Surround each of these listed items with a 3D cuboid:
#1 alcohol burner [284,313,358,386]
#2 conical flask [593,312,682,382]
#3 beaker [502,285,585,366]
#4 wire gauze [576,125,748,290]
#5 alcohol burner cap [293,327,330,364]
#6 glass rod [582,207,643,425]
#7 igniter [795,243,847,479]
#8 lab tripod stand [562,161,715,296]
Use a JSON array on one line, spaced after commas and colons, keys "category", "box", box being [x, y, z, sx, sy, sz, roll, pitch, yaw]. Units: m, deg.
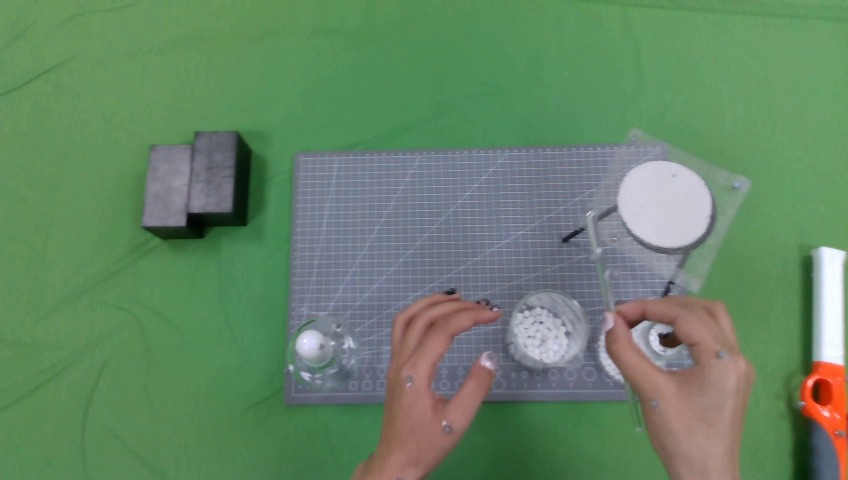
[{"category": "alcohol burner", "box": [-0.110, 0.111, 0.623, 0.078, 0.119, 0.077, -1, 76, 3]}, {"category": "conical flask", "box": [0.220, 0.102, 0.611, 0.075, 0.122, 0.075, 0, 75, 2]}, {"category": "beaker", "box": [0.121, 0.095, 0.627, 0.074, 0.101, 0.083, -36, 77, -7]}, {"category": "wire gauze", "box": [0.223, -0.035, 0.571, 0.124, 0.011, 0.121, 30, 80, 10]}, {"category": "alcohol burner cap", "box": [-0.111, 0.100, 0.588, 0.034, 0.048, 0.033, 0, 68, -1]}, {"category": "glass rod", "box": [0.135, 0.062, 0.427, 0.008, 0.008, 0.201, -25, 118, -5]}, {"category": "igniter", "box": [0.426, 0.138, 0.647, 0.057, 0.025, 0.275, 12, 76, -6]}, {"category": "lab tripod stand", "box": [0.229, -0.016, 0.635, 0.148, 0.132, 0.147, -1, 76, 3]}]
